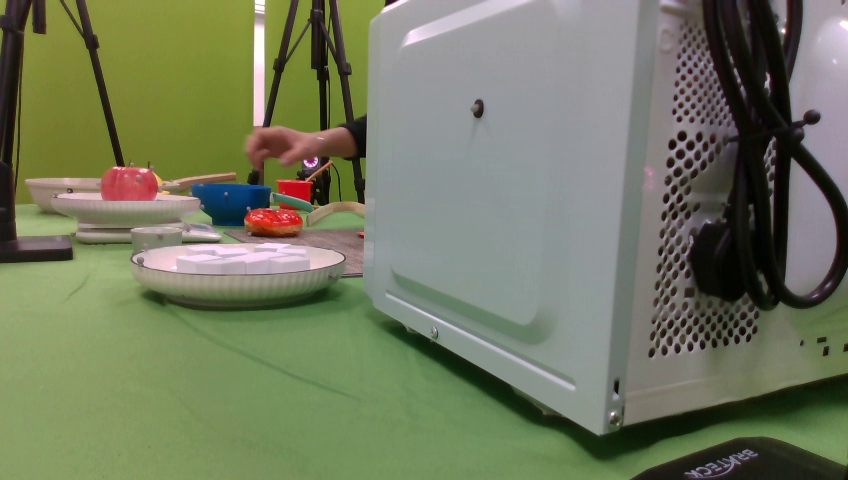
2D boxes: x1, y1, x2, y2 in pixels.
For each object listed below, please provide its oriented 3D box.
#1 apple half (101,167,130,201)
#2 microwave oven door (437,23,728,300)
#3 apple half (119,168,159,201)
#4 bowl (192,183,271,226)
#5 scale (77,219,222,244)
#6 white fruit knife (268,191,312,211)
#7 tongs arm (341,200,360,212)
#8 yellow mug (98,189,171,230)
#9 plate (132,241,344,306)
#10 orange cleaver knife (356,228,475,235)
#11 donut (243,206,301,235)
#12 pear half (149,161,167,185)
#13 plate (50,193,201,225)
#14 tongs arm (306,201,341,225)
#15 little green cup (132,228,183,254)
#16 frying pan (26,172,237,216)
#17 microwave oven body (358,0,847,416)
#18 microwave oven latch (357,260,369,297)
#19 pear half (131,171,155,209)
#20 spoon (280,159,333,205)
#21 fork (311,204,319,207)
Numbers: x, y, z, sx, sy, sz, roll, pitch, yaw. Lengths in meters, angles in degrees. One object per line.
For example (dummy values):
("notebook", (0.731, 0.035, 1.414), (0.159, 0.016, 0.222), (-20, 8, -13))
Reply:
("apple half", (-0.471, -0.077, 0.948), (0.053, 0.074, 0.081), (1, 10, 15))
("microwave oven door", (0.180, -0.073, 0.621), (0.358, 0.243, 0.039), (-2, 8, -29))
("apple half", (-0.434, -0.076, 0.940), (0.033, 0.081, 0.081), (1, 7, 15))
("bowl", (-0.382, -0.071, 1.202), (0.151, 0.077, 0.151), (3, 7, 0))
("scale", (-0.434, -0.018, 0.963), (0.202, 0.031, 0.148), (-1, 8, -27))
("white fruit knife", (-0.364, -0.105, 1.464), (0.208, 0.027, 0.016), (15, 0, -34))
("tongs arm", (-0.149, -0.069, 1.429), (0.051, 0.026, 0.383), (-4, 8, -14))
("yellow mug", (-0.519, -0.055, 1.080), (0.099, 0.064, 0.131), (7, 10, 26))
("plate", (-0.187, 0.033, 0.625), (0.208, 0.039, 0.207), (2, 8, 0))
("orange cleaver knife", (-0.017, -0.015, 1.080), (0.211, 0.012, 0.077), (0, 2, -2))
("donut", (-0.261, -0.032, 1.043), (0.099, 0.048, 0.099), (4, 9, 0))
("pear half", (-0.602, -0.120, 1.354), (0.056, 0.110, 0.076), (4, 11, 6))
("plate", (-0.460, -0.050, 0.944), (0.209, 0.038, 0.209), (2, 7, 0))
("tongs arm", (-0.234, -0.067, 1.414), (0.028, 0.028, 0.387), (-6, 7, 1))
("little green cup", (-0.342, 0.006, 0.779), (0.061, 0.038, 0.061), (2, 8, 0))
("frying pan", (-0.624, -0.118, 1.387), (0.305, 0.102, 0.490), (8, 17, 32))
("microwave oven body", (0.211, -0.047, 0.474), (0.444, 0.260, 0.324), (-1, 7, -28))
("microwave oven latch", (-0.019, 0.033, 0.530), (0.079, 0.029, 0.030), (-1, 7, -26))
("pear half", (-0.638, -0.113, 1.361), (0.031, 0.088, 0.070), (5, 10, 4))
("spoon", (-0.317, -0.159, 1.640), (0.194, 0.022, 0.041), (-49, 32, -20))
("fork", (-0.356, -0.105, 1.526), (0.208, 0.018, 0.028), (16, -6, -41))
